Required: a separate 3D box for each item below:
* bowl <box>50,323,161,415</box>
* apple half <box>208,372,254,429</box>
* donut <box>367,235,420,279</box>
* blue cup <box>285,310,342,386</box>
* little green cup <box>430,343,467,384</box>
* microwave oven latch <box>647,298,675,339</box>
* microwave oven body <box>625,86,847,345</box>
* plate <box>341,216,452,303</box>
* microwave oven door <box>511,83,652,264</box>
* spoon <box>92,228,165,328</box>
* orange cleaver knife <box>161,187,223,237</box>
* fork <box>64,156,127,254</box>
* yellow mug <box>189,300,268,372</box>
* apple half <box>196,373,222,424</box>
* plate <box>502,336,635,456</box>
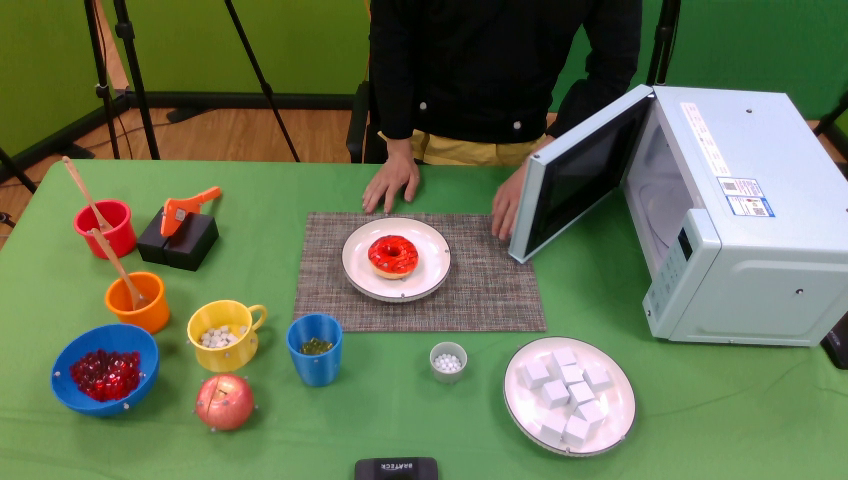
[{"bbox_3d":[-0.472,0.209,0.924,0.151,0.077,0.150,2,45,-2],"label":"bowl"},{"bbox_3d":[-0.282,0.244,0.908,0.053,0.075,0.080,7,43,-1],"label":"apple half"},{"bbox_3d":[-0.057,0.032,1.132,0.099,0.048,0.098,3,45,-3],"label":"donut"},{"bbox_3d":[-0.169,0.180,0.958,0.093,0.101,0.092,1,44,-1],"label":"blue cup"},{"bbox_3d":[0.039,0.203,0.994,0.061,0.039,0.061,2,46,-2],"label":"little green cup"},{"bbox_3d":[0.413,0.134,1.060,0.030,0.029,0.078,5,45,2],"label":"microwave oven latch"},{"bbox_3d":[0.567,-0.053,1.118,0.326,0.261,0.439,2,45,-1],"label":"microwave oven body"},{"bbox_3d":[-0.052,0.039,1.140,0.209,0.038,0.208,2,46,-2],"label":"plate"},{"bbox_3d":[0.308,-0.133,1.170,0.039,0.245,0.355,36,54,28],"label":"microwave oven door"},{"bbox_3d":[-0.496,0.063,1.014,0.041,0.194,0.021,-33,12,-31],"label":"spoon"},{"bbox_3d":[-0.448,-0.058,1.180,0.012,0.077,0.211,13,17,6],"label":"orange cleaver knife"},{"bbox_3d":[-0.614,-0.064,1.130,0.028,0.018,0.207,-29,97,-16],"label":"fork"},{"bbox_3d":[-0.315,0.149,1.001,0.131,0.064,0.099,-33,55,-31],"label":"yellow mug"},{"bbox_3d":[-0.322,0.239,0.906,0.033,0.081,0.081,7,46,0],"label":"apple half"},{"bbox_3d":[0.225,0.248,0.963,0.208,0.039,0.206,2,46,-2],"label":"plate"}]
